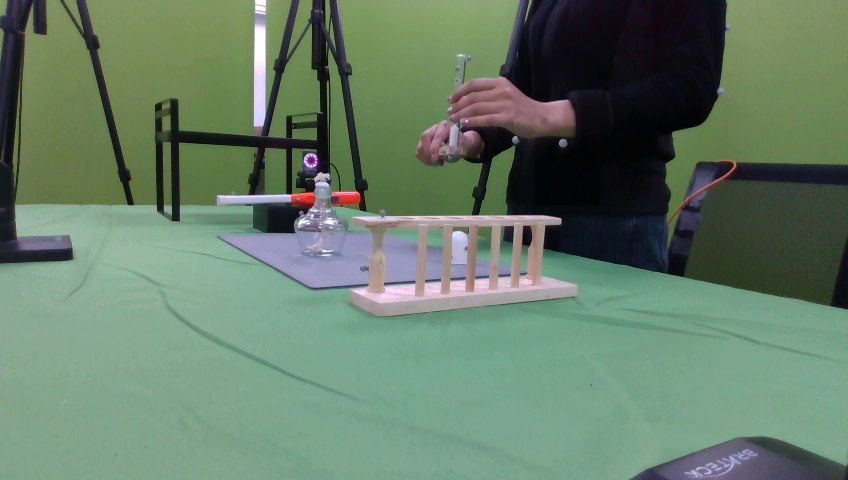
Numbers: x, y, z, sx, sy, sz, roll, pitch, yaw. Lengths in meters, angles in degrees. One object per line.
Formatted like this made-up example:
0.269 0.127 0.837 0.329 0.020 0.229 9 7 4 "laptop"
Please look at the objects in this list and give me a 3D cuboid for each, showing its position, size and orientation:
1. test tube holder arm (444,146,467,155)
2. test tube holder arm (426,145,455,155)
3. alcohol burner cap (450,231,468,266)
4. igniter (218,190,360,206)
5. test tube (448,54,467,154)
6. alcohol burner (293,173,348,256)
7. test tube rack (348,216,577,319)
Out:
0.044 -0.143 0.967 0.010 0.015 0.087 2 7 -26 "test tube holder arm"
0.025 -0.149 1.008 0.013 0.015 0.178 4 6 -14 "test tube holder arm"
0.046 0.011 0.838 0.034 0.048 0.034 2 6 0 "alcohol burner cap"
-0.248 -0.080 1.150 0.278 0.025 0.057 -5 7 -29 "igniter"
0.050 -0.206 0.925 0.017 0.150 0.017 5 17 -1 "test tube"
-0.147 -0.036 0.859 0.078 0.119 0.078 4 8 0 "alcohol burner"
0.048 0.021 0.619 0.244 0.085 0.066 -2 9 -31 "test tube rack"
